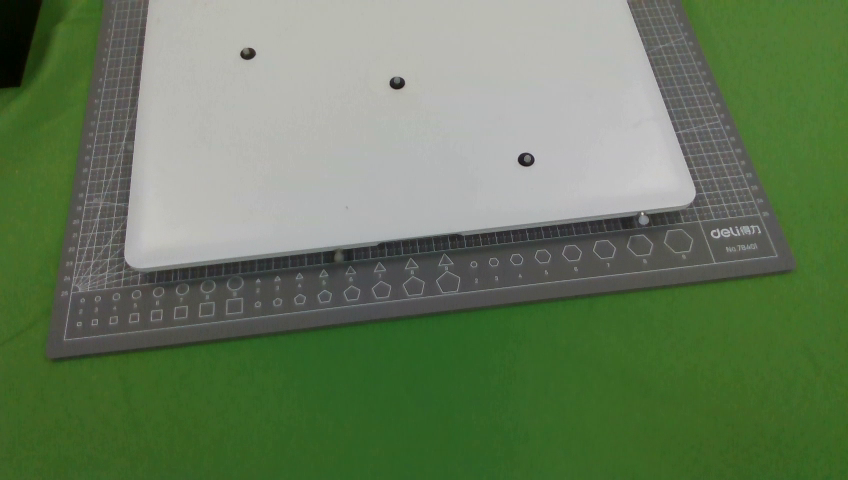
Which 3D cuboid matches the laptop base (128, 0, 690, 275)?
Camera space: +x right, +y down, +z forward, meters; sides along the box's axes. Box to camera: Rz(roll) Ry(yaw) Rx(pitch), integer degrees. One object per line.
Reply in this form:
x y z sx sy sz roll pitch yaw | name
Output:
-0.018 -0.099 0.427 0.355 0.023 0.233 -7 66 -3 | laptop base

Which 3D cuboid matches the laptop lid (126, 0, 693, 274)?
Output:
-0.018 -0.103 0.416 0.357 0.013 0.239 -5 65 -2 | laptop lid
